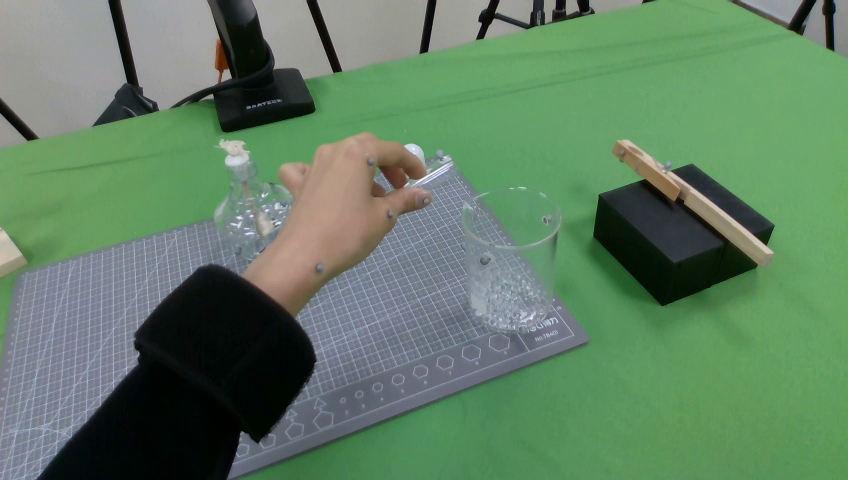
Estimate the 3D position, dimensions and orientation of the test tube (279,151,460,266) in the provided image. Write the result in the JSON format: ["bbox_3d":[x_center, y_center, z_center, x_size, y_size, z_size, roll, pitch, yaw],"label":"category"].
[{"bbox_3d":[-0.042,-0.021,0.436,0.150,0.017,0.017,-29,42,10],"label":"test tube"}]

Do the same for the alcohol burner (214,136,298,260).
[{"bbox_3d":[-0.158,-0.040,0.554,0.078,0.120,0.077,-4,41,4],"label":"alcohol burner"}]

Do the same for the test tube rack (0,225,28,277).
[{"bbox_3d":[-0.501,0.037,0.527,0.242,0.086,0.066,-36,50,-30],"label":"test tube rack"}]

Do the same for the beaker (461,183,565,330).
[{"bbox_3d":[0.066,0.015,0.480,0.083,0.101,0.074,26,51,32],"label":"beaker"}]

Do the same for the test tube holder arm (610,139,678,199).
[{"bbox_3d":[0.199,-0.066,0.547,0.010,0.015,0.087,-13,42,-22],"label":"test tube holder arm"}]

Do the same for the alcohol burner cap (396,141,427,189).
[{"bbox_3d":[-0.015,-0.082,0.639,0.034,0.048,0.033,-3,42,3],"label":"alcohol burner cap"}]

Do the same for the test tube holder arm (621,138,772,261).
[{"bbox_3d":[0.224,-0.040,0.518,0.013,0.015,0.176,-14,42,-22],"label":"test tube holder arm"}]
